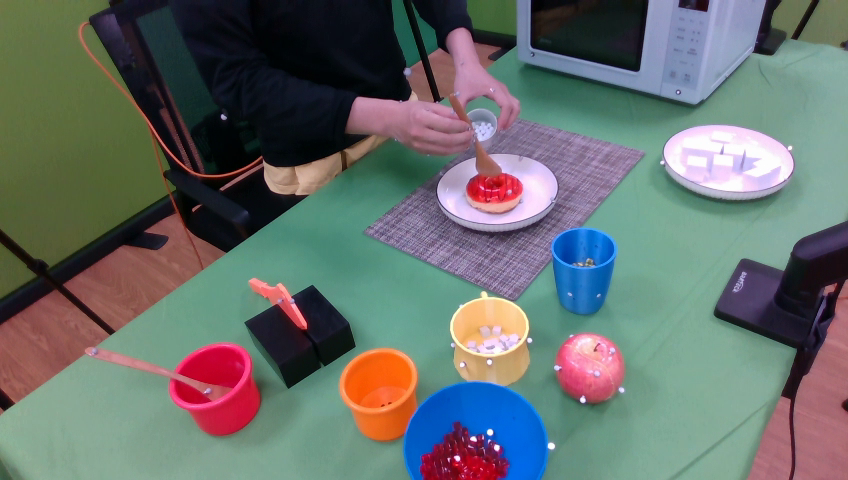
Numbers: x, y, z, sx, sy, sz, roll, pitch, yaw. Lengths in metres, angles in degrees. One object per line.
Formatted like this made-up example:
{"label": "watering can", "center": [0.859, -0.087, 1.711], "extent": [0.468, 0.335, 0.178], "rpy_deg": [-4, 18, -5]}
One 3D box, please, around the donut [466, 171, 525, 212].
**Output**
{"label": "donut", "center": [0.120, -0.083, 1.019], "extent": [0.099, 0.048, 0.098], "rpy_deg": [-4, 39, 4]}

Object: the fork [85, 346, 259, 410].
{"label": "fork", "center": [-0.298, 0.166, 0.728], "extent": [0.209, 0.018, 0.028], "rpy_deg": [28, 47, -24]}

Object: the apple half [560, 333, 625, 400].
{"label": "apple half", "center": [0.209, 0.147, 0.730], "extent": [0.080, 0.075, 0.053], "rpy_deg": [26, 47, 38]}

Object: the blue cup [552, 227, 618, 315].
{"label": "blue cup", "center": [0.218, 0.047, 0.825], "extent": [0.092, 0.100, 0.092], "rpy_deg": [-6, 39, 5]}

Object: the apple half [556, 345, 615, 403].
{"label": "apple half", "center": [0.181, 0.167, 0.709], "extent": [0.080, 0.081, 0.033], "rpy_deg": [29, 50, 35]}

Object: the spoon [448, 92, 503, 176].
{"label": "spoon", "center": [0.075, -0.154, 0.905], "extent": [0.041, 0.195, 0.021], "rpy_deg": [-4, 54, 27]}

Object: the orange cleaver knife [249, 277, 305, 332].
{"label": "orange cleaver knife", "center": [-0.210, 0.088, 0.855], "extent": [0.012, 0.077, 0.210], "rpy_deg": [-28, 15, -25]}

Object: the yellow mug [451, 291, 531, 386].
{"label": "yellow mug", "center": [0.086, 0.120, 0.786], "extent": [0.100, 0.064, 0.130], "rpy_deg": [-7, 39, 2]}

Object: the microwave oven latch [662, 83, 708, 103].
{"label": "microwave oven latch", "center": [0.518, -0.296, 1.204], "extent": [0.078, 0.029, 0.030], "rpy_deg": [28, 52, 35]}

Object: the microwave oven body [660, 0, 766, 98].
{"label": "microwave oven body", "center": [0.472, -0.513, 1.317], "extent": [0.438, 0.261, 0.327], "rpy_deg": [26, 51, 34]}

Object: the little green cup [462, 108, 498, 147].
{"label": "little green cup", "center": [0.096, -0.190, 1.037], "extent": [0.061, 0.039, 0.061], "rpy_deg": [-2, 72, 6]}

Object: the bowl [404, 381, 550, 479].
{"label": "bowl", "center": [0.058, 0.235, 0.645], "extent": [0.151, 0.077, 0.150], "rpy_deg": [-4, 39, 4]}

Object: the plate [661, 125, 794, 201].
{"label": "plate", "center": [0.513, -0.128, 1.035], "extent": [0.207, 0.039, 0.206], "rpy_deg": [-4, 40, 4]}

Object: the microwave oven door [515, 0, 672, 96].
{"label": "microwave oven door", "center": [0.344, -0.455, 1.259], "extent": [0.353, 0.245, 0.039], "rpy_deg": [26, 51, 33]}

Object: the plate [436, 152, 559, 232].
{"label": "plate", "center": [0.125, -0.078, 1.030], "extent": [0.209, 0.038, 0.208], "rpy_deg": [-4, 41, 4]}
